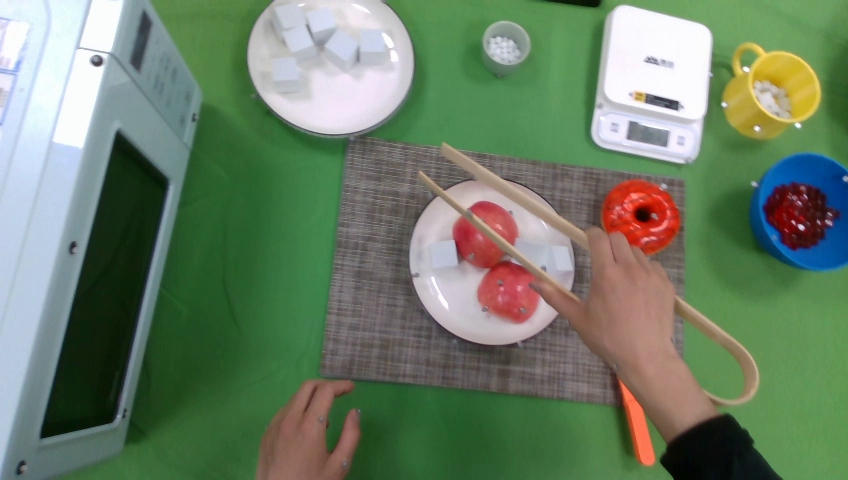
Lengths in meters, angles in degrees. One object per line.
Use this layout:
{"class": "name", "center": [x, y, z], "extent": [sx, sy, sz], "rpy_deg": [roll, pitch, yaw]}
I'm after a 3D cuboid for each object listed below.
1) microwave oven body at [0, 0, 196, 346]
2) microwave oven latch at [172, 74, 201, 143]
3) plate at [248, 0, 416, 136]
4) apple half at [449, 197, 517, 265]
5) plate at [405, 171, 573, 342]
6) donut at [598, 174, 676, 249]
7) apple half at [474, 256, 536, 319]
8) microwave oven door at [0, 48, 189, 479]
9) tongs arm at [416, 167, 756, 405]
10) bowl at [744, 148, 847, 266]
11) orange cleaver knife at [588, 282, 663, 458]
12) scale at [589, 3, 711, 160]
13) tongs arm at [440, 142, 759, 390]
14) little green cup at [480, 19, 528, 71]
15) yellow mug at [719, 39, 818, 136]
{"class": "microwave oven body", "center": [-0.449, -0.029, 0.581], "extent": [0.326, 0.260, 0.440], "rpy_deg": [9, 79, -5]}
{"class": "microwave oven latch", "center": [-0.288, -0.158, 0.721], "extent": [0.030, 0.029, 0.079], "rpy_deg": [11, 79, -5]}
{"class": "plate", "center": [-0.115, -0.228, 0.773], "extent": [0.208, 0.039, 0.206], "rpy_deg": [1, 79, -6]}
{"class": "apple half", "center": [0.073, -0.016, 0.736], "extent": [0.081, 0.053, 0.074], "rpy_deg": [-38, 83, -13]}
{"class": "plate", "center": [0.078, 0.021, 0.746], "extent": [0.209, 0.038, 0.208], "rpy_deg": [1, 80, -6]}
{"class": "donut", "center": [0.271, -0.036, 0.775], "extent": [0.099, 0.048, 0.098], "rpy_deg": [1, 80, -4]}
{"class": "apple half", "center": [0.102, 0.055, 0.735], "extent": [0.081, 0.033, 0.081], "rpy_deg": [1, 80, -3]}
{"class": "microwave oven door", "center": [-0.311, 0.034, 0.580], "extent": [0.039, 0.244, 0.354], "rpy_deg": [9, 79, -4]}
{"class": "tongs arm", "center": [0.147, 0.034, 0.604], "extent": [0.382, 0.027, 0.050], "rpy_deg": [41, 74, 14]}
{"class": "bowl", "center": [0.475, -0.036, 0.784], "extent": [0.151, 0.077, 0.151], "rpy_deg": [1, 80, -6]}
{"class": "orange cleaver knife", "center": [0.258, 0.158, 0.751], "extent": [0.077, 0.012, 0.210], "rpy_deg": [-11, 80, -14]}
{"class": "scale", "center": [0.307, -0.216, 0.821], "extent": [0.149, 0.031, 0.200], "rpy_deg": [11, 79, -4]}
{"class": "tongs arm", "center": [0.164, 0.015, 0.611], "extent": [0.385, 0.028, 0.028], "rpy_deg": [38, 70, 13]}
{"class": "little green cup", "center": [0.103, -0.256, 0.802], "extent": [0.061, 0.039, 0.061], "rpy_deg": [1, 79, -6]}
{"class": "yellow mug", "center": [0.457, -0.213, 0.820], "extent": [0.100, 0.064, 0.130], "rpy_deg": [-26, 83, -10]}
